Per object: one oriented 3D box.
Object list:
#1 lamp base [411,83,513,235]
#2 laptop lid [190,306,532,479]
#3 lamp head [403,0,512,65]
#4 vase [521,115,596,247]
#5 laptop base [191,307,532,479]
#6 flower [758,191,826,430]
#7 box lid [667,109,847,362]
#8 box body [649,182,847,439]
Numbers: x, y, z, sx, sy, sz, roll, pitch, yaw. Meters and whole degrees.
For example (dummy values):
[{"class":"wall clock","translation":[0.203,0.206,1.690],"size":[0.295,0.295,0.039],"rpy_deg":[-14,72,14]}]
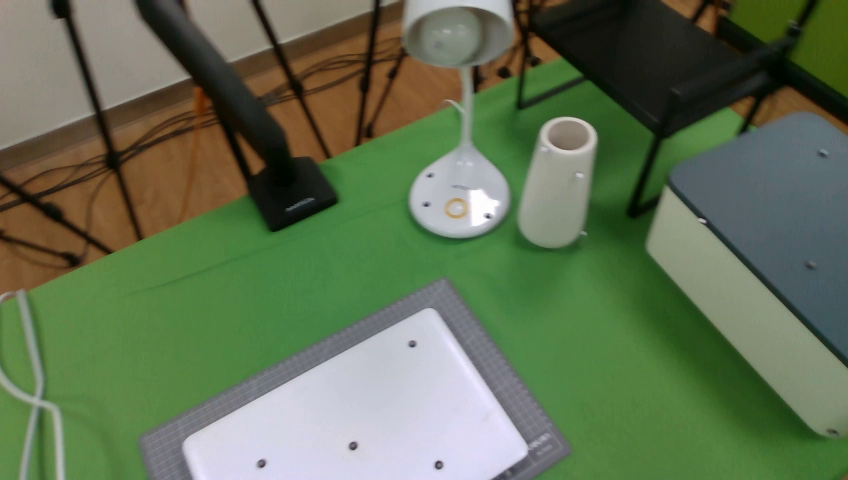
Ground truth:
[{"class":"lamp base","translation":[0.057,-0.128,0.903],"size":[0.160,0.182,0.177],"rpy_deg":[1,51,4]},{"class":"laptop lid","translation":[-0.077,0.242,0.725],"size":[0.357,0.013,0.239],"rpy_deg":[-25,59,-15]},{"class":"lamp head","translation":[0.033,-0.258,0.628],"size":[0.112,0.113,0.122],"rpy_deg":[-1,72,2]},{"class":"vase","translation":[0.189,-0.078,0.849],"size":[0.098,0.202,0.097],"rpy_deg":[-2,53,4]},{"class":"laptop base","translation":[-0.078,0.247,0.735],"size":[0.354,0.023,0.233],"rpy_deg":[-26,61,-16]},{"class":"flower","translation":[0.503,0.080,0.820],"size":[0.044,0.038,0.358],"rpy_deg":[-11,50,29]},{"class":"box lid","translation":[0.497,-0.010,0.714],"size":[0.263,0.015,0.367],"rpy_deg":[-23,56,-15]},{"class":"box body","translation":[0.502,0.035,0.774],"size":[0.254,0.162,0.360],"rpy_deg":[-24,56,-14]}]
